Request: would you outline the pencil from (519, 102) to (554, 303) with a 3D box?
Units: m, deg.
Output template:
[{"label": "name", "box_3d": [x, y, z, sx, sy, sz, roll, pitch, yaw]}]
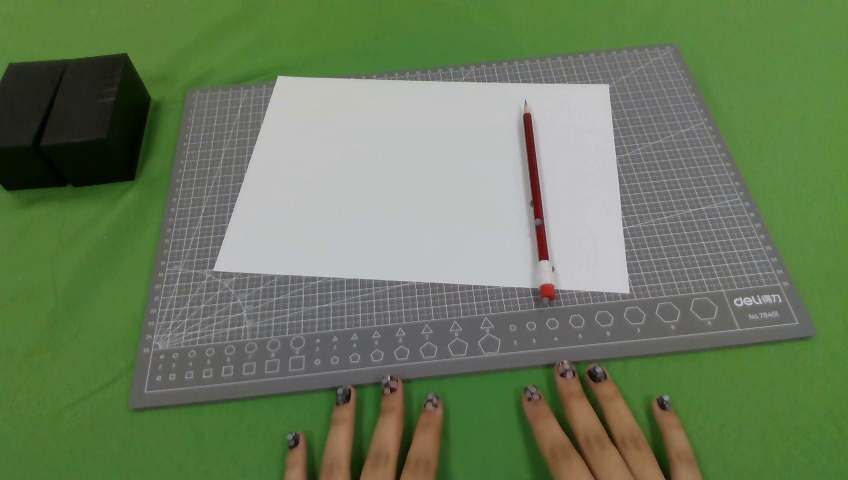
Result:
[{"label": "pencil", "box_3d": [0.084, -0.038, 0.466, 0.012, 0.012, 0.192, -1, 56, 2]}]
